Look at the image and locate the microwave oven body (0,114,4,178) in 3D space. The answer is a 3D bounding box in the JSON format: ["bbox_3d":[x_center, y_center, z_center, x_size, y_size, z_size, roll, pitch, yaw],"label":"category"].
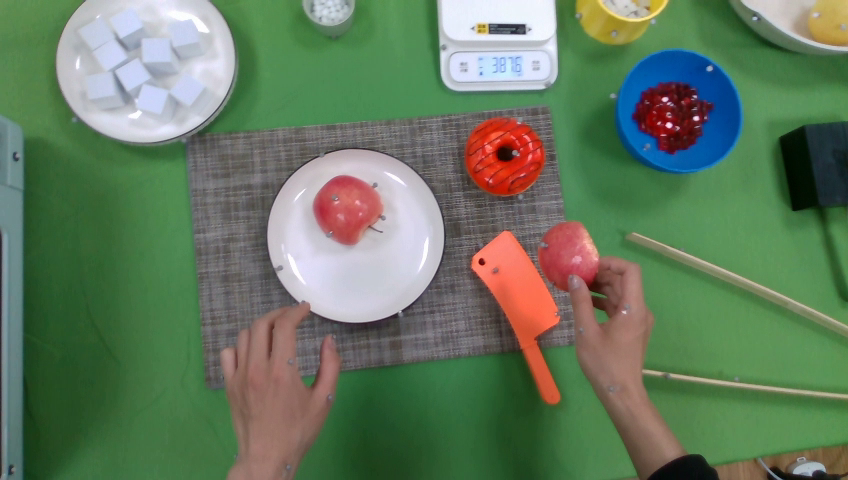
[{"bbox_3d":[-0.609,0.069,0.555,0.326,0.260,0.440,-4,84,-5],"label":"microwave oven body"}]

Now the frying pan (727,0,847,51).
[{"bbox_3d":[0.565,-0.294,0.767,0.307,0.103,0.485,-33,79,-6],"label":"frying pan"}]

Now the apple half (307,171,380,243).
[{"bbox_3d":[-0.095,-0.042,0.703,0.081,0.053,0.074,-43,84,-8],"label":"apple half"}]

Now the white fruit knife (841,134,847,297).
[{"bbox_3d":[0.525,-0.028,0.746,0.016,0.027,0.208,-8,98,-4],"label":"white fruit knife"}]

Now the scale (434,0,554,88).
[{"bbox_3d":[0.088,-0.294,0.768,0.149,0.031,0.200,-2,84,-4],"label":"scale"}]

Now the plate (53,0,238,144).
[{"bbox_3d":[-0.327,-0.212,0.725,0.208,0.039,0.207,1,83,-4],"label":"plate"}]

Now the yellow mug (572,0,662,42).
[{"bbox_3d":[0.235,-0.323,0.765,0.100,0.064,0.130,-39,87,-7],"label":"yellow mug"}]

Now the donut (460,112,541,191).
[{"bbox_3d":[0.092,-0.107,0.737,0.099,0.048,0.099,0,84,-2],"label":"donut"}]

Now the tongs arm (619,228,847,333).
[{"bbox_3d":[0.421,0.070,0.753,0.388,0.028,0.028,24,74,-1],"label":"tongs arm"}]

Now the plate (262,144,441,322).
[{"bbox_3d":[-0.084,-0.008,0.716,0.209,0.038,0.208,1,83,-4],"label":"plate"}]

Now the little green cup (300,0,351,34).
[{"bbox_3d":[-0.120,-0.288,0.749,0.061,0.038,0.061,1,83,-4],"label":"little green cup"}]

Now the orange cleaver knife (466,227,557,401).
[{"bbox_3d":[0.121,0.086,0.729,0.077,0.012,0.211,-24,84,-12],"label":"orange cleaver knife"}]

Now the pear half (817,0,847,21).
[{"bbox_3d":[0.547,-0.317,0.771,0.070,0.088,0.031,28,84,3],"label":"pear half"}]

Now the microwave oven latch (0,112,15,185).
[{"bbox_3d":[-0.480,-0.103,0.682,0.030,0.029,0.079,-2,84,-5],"label":"microwave oven latch"}]

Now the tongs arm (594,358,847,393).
[{"bbox_3d":[0.399,0.153,0.737,0.385,0.026,0.050,9,78,-3],"label":"tongs arm"}]

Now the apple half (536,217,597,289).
[{"bbox_3d":[0.142,0.014,0.633,0.033,0.081,0.081,-13,83,-27],"label":"apple half"}]

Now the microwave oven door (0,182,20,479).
[{"bbox_3d":[-0.460,0.102,0.558,0.039,0.244,0.354,-4,83,-4],"label":"microwave oven door"}]

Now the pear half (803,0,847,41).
[{"bbox_3d":[0.527,-0.288,0.757,0.076,0.110,0.056,30,83,4],"label":"pear half"}]

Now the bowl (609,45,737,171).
[{"bbox_3d":[0.291,-0.151,0.744,0.151,0.077,0.151,0,84,-4],"label":"bowl"}]
